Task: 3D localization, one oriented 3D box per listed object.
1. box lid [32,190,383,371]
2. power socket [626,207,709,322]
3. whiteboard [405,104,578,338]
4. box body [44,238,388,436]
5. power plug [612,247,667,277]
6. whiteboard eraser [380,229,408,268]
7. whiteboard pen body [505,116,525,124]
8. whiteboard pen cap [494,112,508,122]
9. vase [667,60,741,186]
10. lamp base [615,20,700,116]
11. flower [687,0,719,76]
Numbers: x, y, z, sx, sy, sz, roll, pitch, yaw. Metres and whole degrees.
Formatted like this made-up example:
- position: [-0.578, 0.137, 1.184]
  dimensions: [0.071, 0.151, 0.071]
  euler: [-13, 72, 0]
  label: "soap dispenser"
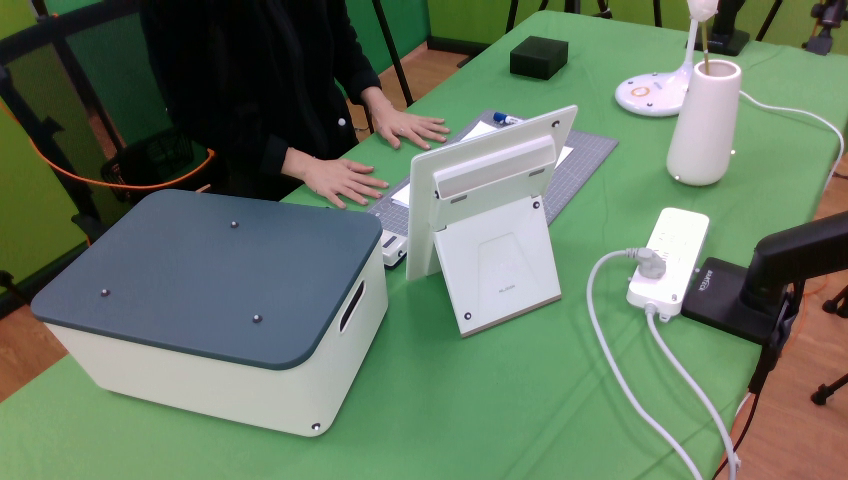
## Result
- position: [-0.257, 0.032, 0.750]
  dimensions: [0.370, 0.015, 0.263]
  euler: [7, 41, 16]
  label: "box lid"
- position: [0.360, 0.026, 0.886]
  dimensions: [0.072, 0.033, 0.227]
  euler: [17, 46, 27]
  label: "power socket"
- position: [0.103, 0.003, 0.786]
  dimensions: [0.218, 0.306, 0.143]
  euler: [-19, 62, -14]
  label: "whiteboard"
- position: [-0.251, 0.088, 0.799]
  dimensions: [0.362, 0.161, 0.254]
  euler: [7, 42, 16]
  label: "box body"
- position: [0.306, 0.031, 0.852]
  dimensions: [0.072, 0.053, 0.035]
  euler: [21, 48, 37]
  label: "power plug"
- position: [-0.081, 0.007, 0.963]
  dimensions: [0.112, 0.042, 0.056]
  euler: [19, 48, 27]
  label: "whiteboard eraser"
- position: [0.203, -0.232, 1.213]
  dimensions: [0.139, 0.017, 0.017]
  euler: [28, 51, 36]
  label: "whiteboard pen body"
- position: [0.161, -0.252, 1.248]
  dimensions: [0.033, 0.018, 0.018]
  euler: [27, 51, 36]
  label: "whiteboard pen cap"
- position: [0.463, -0.189, 0.994]
  dimensions: [0.098, 0.201, 0.097]
  euler: [-4, 40, 4]
  label: "vase"
- position: [0.484, -0.364, 1.211]
  dimensions: [0.180, 0.181, 0.159]
  euler: [-15, 41, -14]
  label: "lamp base"
- position: [0.436, -0.242, 0.934]
  dimensions: [0.038, 0.364, 0.043]
  euler: [-25, 49, 8]
  label: "flower"
